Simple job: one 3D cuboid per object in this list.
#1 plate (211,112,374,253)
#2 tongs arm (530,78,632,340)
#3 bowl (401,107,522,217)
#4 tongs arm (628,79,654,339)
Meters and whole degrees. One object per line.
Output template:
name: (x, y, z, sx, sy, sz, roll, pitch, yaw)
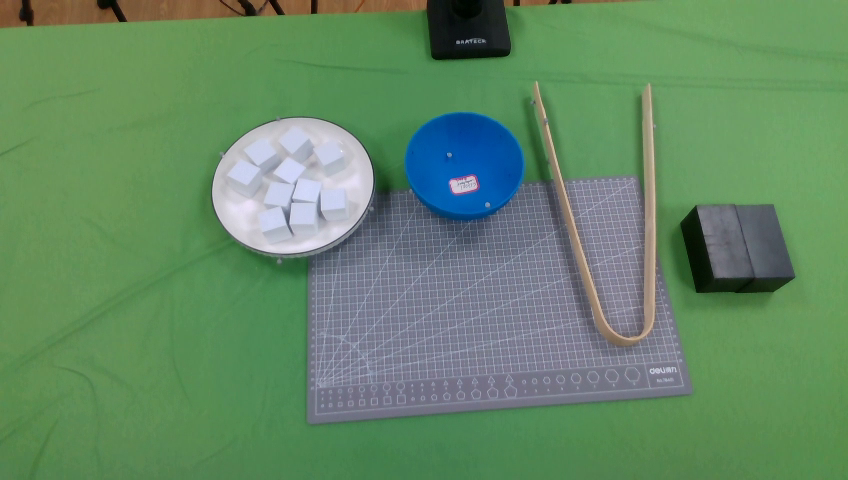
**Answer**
plate: (-0.168, -0.073, 0.792, 0.208, 0.039, 0.206, 0, 66, 0)
tongs arm: (0.199, -0.055, 0.797, 0.051, 0.027, 0.381, -4, 66, -7)
bowl: (0.046, -0.087, 0.781, 0.151, 0.077, 0.150, 1, 66, -1)
tongs arm: (0.286, -0.055, 0.802, 0.028, 0.028, 0.385, 11, 66, -4)
